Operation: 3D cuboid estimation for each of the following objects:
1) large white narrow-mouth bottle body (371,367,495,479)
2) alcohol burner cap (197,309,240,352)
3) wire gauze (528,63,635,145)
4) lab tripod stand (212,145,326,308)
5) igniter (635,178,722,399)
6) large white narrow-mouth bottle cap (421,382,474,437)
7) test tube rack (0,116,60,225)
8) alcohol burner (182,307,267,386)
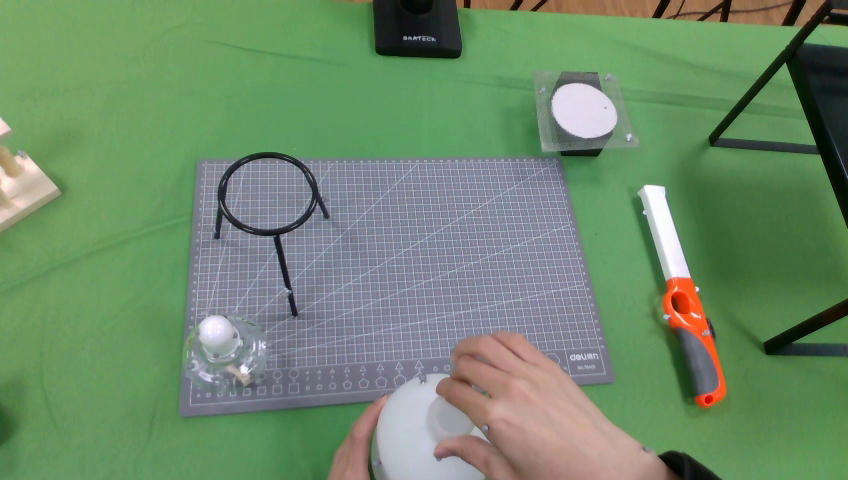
[{"bbox_3d":[0.007,0.164,0.517,0.102,0.196,0.101,3,63,-6],"label":"large white narrow-mouth bottle body"},{"bbox_3d":[-0.182,0.078,0.531,0.034,0.048,0.033,3,69,-7],"label":"alcohol burner cap"},{"bbox_3d":[0.196,-0.173,0.764,0.122,0.011,0.124,0,64,-9],"label":"wire gauze"},{"bbox_3d":[-0.152,-0.019,0.614,0.149,0.132,0.147,4,64,-9],"label":"lab tripod stand"},{"bbox_3d":[0.297,0.048,0.714,0.057,0.025,0.274,3,63,-19],"label":"igniter"},{"bbox_3d":[0.017,0.124,0.442,0.038,0.024,0.037,3,63,-6],"label":"large white narrow-mouth bottle cap"},{"bbox_3d":[-0.503,-0.024,0.591,0.066,0.085,0.242,42,65,13],"label":"test tube rack"},{"bbox_3d":[-0.187,0.093,0.564,0.078,0.120,0.077,5,61,-8],"label":"alcohol burner"}]
